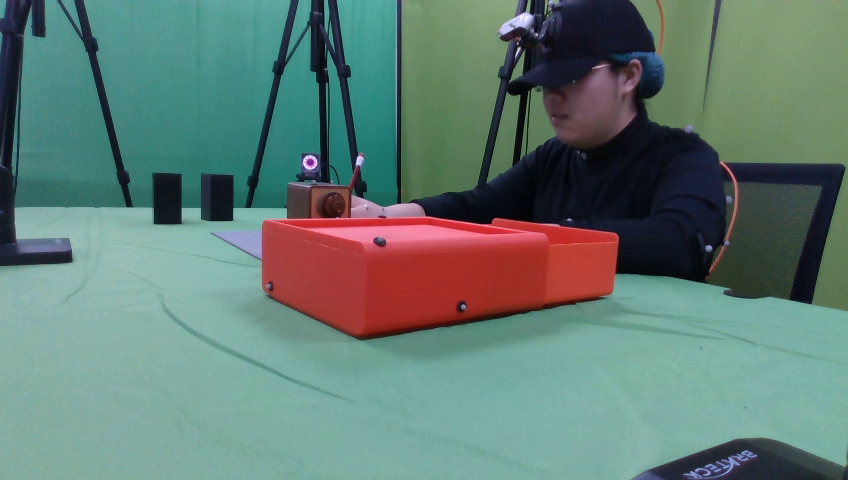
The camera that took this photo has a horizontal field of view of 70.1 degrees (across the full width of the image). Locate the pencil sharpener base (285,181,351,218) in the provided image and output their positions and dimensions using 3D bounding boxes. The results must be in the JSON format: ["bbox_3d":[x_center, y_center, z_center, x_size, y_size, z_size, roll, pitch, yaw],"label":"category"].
[{"bbox_3d":[-0.139,-0.020,0.789,0.062,0.107,0.076,-2,9,-36],"label":"pencil sharpener base"}]

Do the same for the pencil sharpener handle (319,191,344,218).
[{"bbox_3d":[-0.107,-0.026,0.747,0.036,0.067,0.030,-5,11,-36],"label":"pencil sharpener handle"}]

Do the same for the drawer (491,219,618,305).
[{"bbox_3d":[0.071,0.021,0.669,0.213,0.073,0.193,-3,9,-39],"label":"drawer"}]

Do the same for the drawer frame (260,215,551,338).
[{"bbox_3d":[-0.021,0.024,0.595,0.215,0.082,0.200,-4,10,-38],"label":"drawer frame"}]

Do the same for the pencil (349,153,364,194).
[{"bbox_3d":[-0.133,-0.077,1.056,0.012,0.194,0.012,10,-32,6],"label":"pencil"}]
